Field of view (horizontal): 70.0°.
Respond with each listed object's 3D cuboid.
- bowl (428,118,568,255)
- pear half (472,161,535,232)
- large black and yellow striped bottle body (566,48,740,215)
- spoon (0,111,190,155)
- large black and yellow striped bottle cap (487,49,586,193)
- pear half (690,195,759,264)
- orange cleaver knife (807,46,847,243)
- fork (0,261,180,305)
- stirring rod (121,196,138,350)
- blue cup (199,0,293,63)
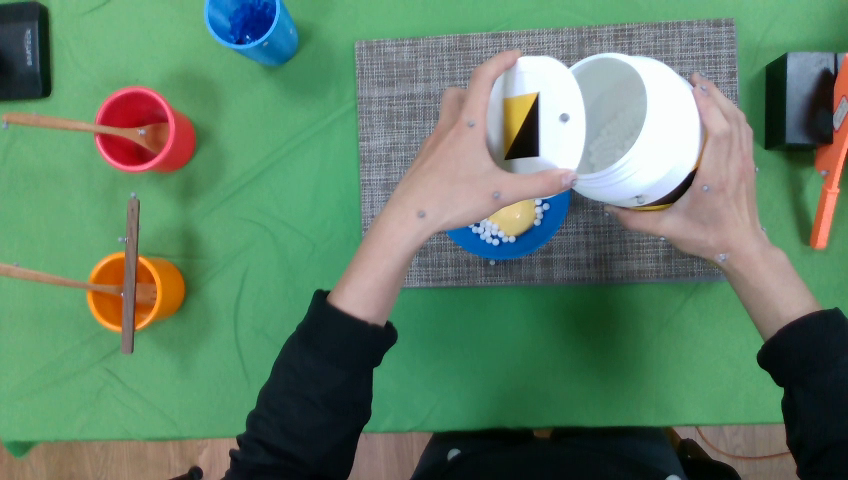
[{"bbox_3d":[0.082,-0.058,0.690,0.151,0.077,0.151,0,90,5],"label":"bowl"},{"bbox_3d":[0.087,-0.053,0.683,0.070,0.031,0.088,-30,83,4],"label":"pear half"},{"bbox_3d":[0.201,-0.099,0.573,0.130,0.185,0.130,-8,78,45],"label":"large black and yellow striped bottle body"},{"bbox_3d":[-0.371,-0.128,0.694,0.195,0.021,0.041,3,93,-39],"label":"spoon"},{"bbox_3d":[0.087,-0.095,0.492,0.019,0.114,0.115,-6,89,-26],"label":"large black and yellow striped bottle cap"},{"bbox_3d":[0.326,-0.008,0.657,0.056,0.110,0.076,-22,84,5],"label":"pear half"},{"bbox_3d":[0.444,-0.100,0.665,0.012,0.076,0.213,0,119,10],"label":"orange cleaver knife"},{"bbox_3d":[-0.386,0.047,0.692,0.209,0.018,0.028,16,101,-40],"label":"fork"},{"bbox_3d":[-0.334,0.037,0.686,0.014,0.006,0.176,2,91,3],"label":"stirring rod"},{"bbox_3d":[-0.196,-0.249,0.701,0.092,0.100,0.092,0,90,6],"label":"blue cup"}]
